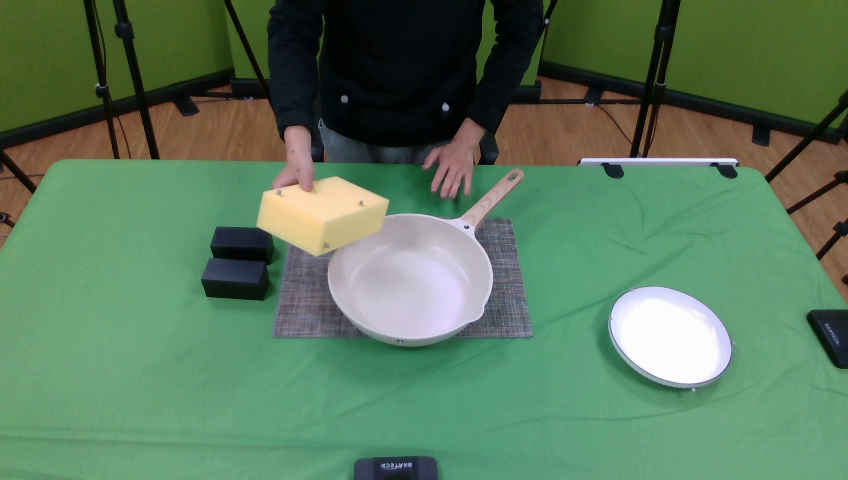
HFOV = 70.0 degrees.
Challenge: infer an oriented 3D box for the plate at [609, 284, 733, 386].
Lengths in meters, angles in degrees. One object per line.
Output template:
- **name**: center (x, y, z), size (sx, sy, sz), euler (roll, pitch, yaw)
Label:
- **plate**: center (0.425, 0.167, 1.059), size (0.208, 0.039, 0.206), euler (2, 46, -2)

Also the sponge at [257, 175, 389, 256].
- **sponge**: center (-0.161, -0.047, 1.004), size (0.118, 0.061, 0.207), euler (24, 22, 18)

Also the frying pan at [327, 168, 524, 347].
- **frying pan**: center (0.043, 0.009, 1.132), size (0.305, 0.103, 0.487), euler (34, 61, 24)
